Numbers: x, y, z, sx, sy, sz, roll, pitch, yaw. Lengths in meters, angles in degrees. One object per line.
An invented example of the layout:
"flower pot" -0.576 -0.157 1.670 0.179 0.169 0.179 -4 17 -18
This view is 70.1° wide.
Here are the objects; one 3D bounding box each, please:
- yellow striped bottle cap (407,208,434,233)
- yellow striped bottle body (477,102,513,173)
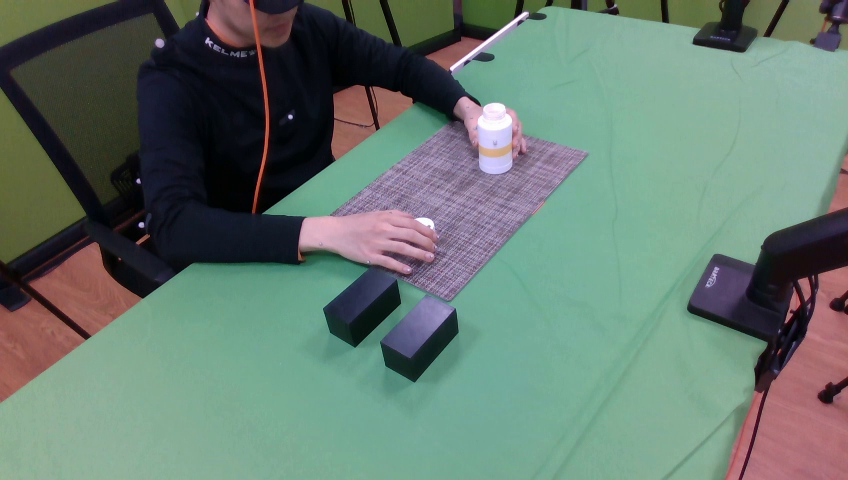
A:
"yellow striped bottle cap" -0.006 -0.031 0.971 0.044 0.019 0.044 2 45 -1
"yellow striped bottle body" 0.128 -0.185 1.083 0.063 0.121 0.062 -5 41 5
